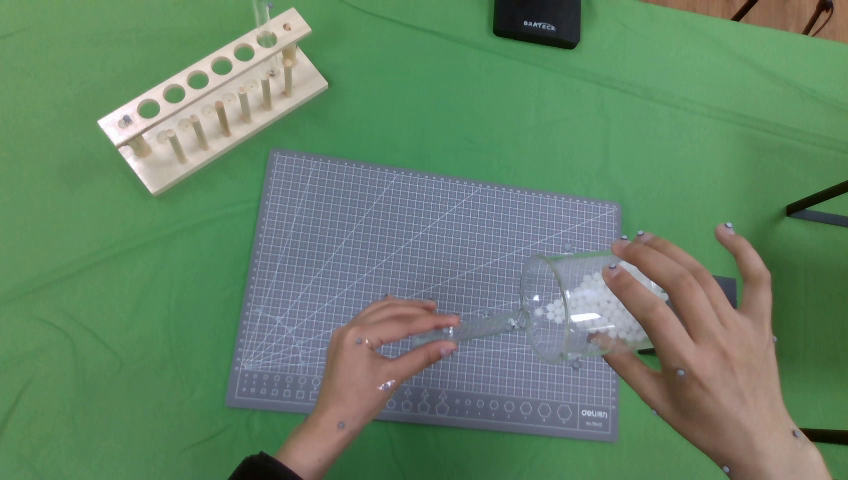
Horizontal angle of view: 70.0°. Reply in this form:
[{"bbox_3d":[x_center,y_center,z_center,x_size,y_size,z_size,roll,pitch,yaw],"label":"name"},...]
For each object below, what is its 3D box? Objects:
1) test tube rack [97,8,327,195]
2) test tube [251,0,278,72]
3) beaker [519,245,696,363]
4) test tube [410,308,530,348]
[{"bbox_3d":[-0.225,-0.156,0.683,0.242,0.085,0.066,-37,85,-17],"label":"test tube rack"},{"bbox_3d":[-0.173,-0.228,0.658,0.017,0.151,0.017,2,73,-7],"label":"test tube"},{"bbox_3d":[0.124,0.042,0.418,0.100,0.084,0.073,-5,73,-14],"label":"beaker"},{"bbox_3d":[0.032,0.075,0.500,0.017,0.150,0.017,11,70,-32],"label":"test tube"}]
